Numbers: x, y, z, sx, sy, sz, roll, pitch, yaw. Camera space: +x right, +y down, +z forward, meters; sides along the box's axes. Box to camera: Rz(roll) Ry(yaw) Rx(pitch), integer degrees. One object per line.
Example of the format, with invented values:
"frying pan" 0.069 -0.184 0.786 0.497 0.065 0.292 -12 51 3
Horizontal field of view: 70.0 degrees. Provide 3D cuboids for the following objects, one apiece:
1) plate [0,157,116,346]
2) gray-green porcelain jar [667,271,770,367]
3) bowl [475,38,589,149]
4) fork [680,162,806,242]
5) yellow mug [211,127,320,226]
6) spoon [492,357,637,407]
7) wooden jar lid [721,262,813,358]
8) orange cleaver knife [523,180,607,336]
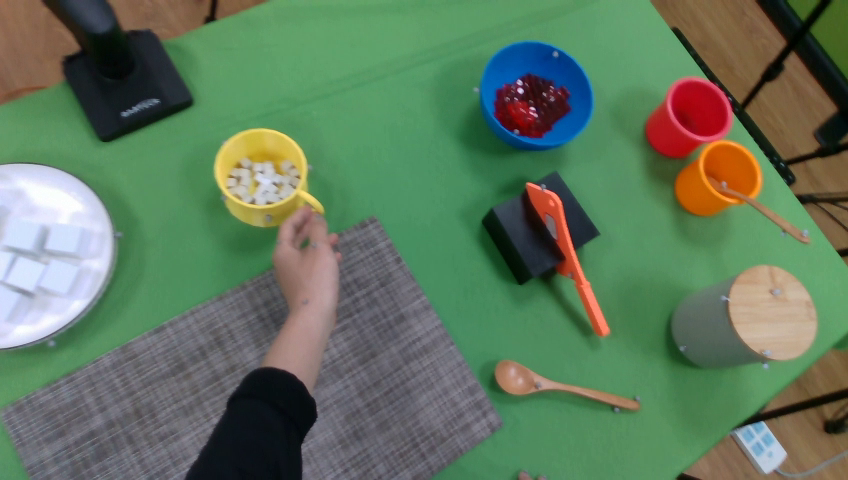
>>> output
"plate" -0.442 0.012 0.654 0.208 0.039 0.206 3 73 -10
"gray-green porcelain jar" 0.370 0.099 0.741 0.106 0.127 0.105 3 72 -10
"bowl" 0.132 -0.180 0.802 0.152 0.077 0.150 3 74 -10
"fork" 0.405 -0.053 0.780 0.028 0.019 0.205 -15 33 -13
"yellow mug" -0.180 -0.067 0.714 0.131 0.064 0.099 30 70 -2
"spoon" 0.172 0.179 0.733 0.194 0.022 0.041 14 57 -7
"wooden jar lid" 0.382 0.079 0.681 0.108 0.021 0.108 3 73 -8
"orange cleaver knife" 0.173 0.022 0.748 0.012 0.077 0.212 -28 104 -14
